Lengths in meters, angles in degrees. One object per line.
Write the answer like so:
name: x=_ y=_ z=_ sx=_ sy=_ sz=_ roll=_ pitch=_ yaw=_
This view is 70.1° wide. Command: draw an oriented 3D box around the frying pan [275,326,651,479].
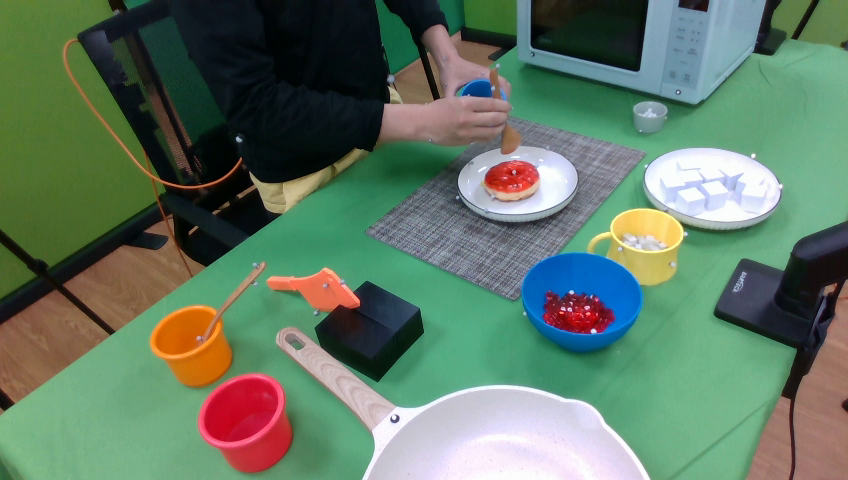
frying pan: x=0.003 y=0.229 z=0.641 sx=0.484 sy=0.103 sz=0.308 roll=34 pitch=54 yaw=28

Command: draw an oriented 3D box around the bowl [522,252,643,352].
bowl: x=0.204 y=0.093 z=0.791 sx=0.151 sy=0.077 sz=0.150 roll=-4 pitch=40 yaw=4

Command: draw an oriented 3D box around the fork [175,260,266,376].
fork: x=-0.268 y=0.103 z=0.792 sx=0.207 sy=0.019 sz=0.028 roll=-51 pitch=41 yaw=16

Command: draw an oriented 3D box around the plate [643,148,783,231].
plate: x=0.464 y=-0.079 z=0.985 sx=0.207 sy=0.039 sz=0.206 roll=-4 pitch=40 yaw=4

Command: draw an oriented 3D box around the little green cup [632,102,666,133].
little green cup: x=0.434 y=-0.237 z=1.171 sx=0.061 sy=0.039 sz=0.061 roll=-5 pitch=40 yaw=5

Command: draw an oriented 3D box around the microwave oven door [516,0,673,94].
microwave oven door: x=0.344 y=-0.458 z=1.256 sx=0.353 sy=0.245 sz=0.039 roll=26 pitch=52 yaw=33

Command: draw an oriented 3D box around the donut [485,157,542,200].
donut: x=0.153 y=-0.108 z=1.039 sx=0.099 sy=0.048 sz=0.098 roll=-6 pitch=38 yaw=5

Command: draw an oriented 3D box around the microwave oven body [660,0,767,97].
microwave oven body: x=0.473 y=-0.517 z=1.313 sx=0.438 sy=0.261 sz=0.327 roll=26 pitch=51 yaw=34

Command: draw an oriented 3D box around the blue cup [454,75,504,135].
blue cup: x=0.094 y=-0.228 z=1.066 sx=0.092 sy=0.100 sz=0.092 roll=0 pitch=82 yaw=2

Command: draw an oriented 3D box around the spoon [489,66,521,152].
spoon: x=0.119 y=-0.195 z=0.924 sx=0.041 sy=0.195 sz=0.021 roll=-34 pitch=55 yaw=-2

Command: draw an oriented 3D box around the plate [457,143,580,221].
plate: x=0.162 y=-0.097 z=1.042 sx=0.209 sy=0.038 sz=0.208 roll=-4 pitch=40 yaw=4

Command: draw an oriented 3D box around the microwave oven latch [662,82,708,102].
microwave oven latch: x=0.518 y=-0.299 z=1.203 sx=0.078 sy=0.029 sz=0.030 roll=29 pitch=53 yaw=36

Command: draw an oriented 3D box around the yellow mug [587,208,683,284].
yellow mug: x=0.305 y=0.009 z=0.884 sx=0.131 sy=0.064 sz=0.099 roll=-4 pitch=40 yaw=5

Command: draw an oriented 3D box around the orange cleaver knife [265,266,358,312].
orange cleaver knife: x=-0.164 y=0.073 z=0.864 sx=0.210 sy=0.077 sz=0.012 roll=-6 pitch=30 yaw=50
